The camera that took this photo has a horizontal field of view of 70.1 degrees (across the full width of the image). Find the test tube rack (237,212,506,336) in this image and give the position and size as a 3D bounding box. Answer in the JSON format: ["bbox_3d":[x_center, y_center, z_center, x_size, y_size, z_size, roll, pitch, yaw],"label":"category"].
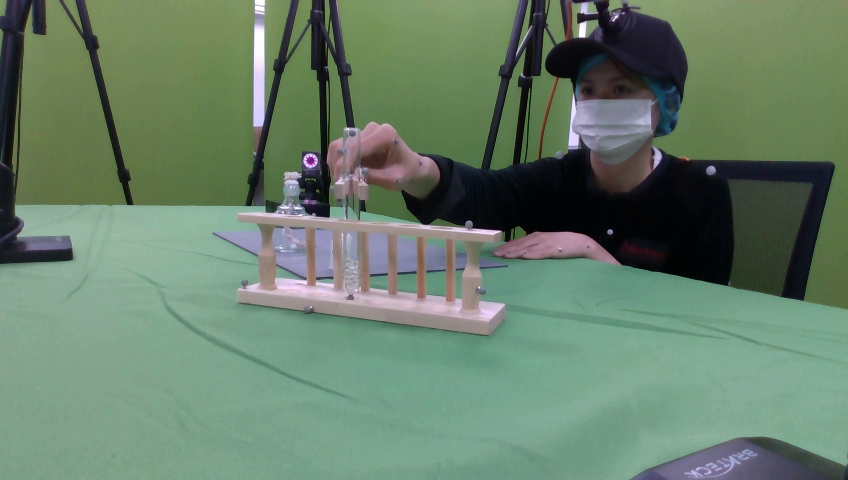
[{"bbox_3d":[-0.049,0.024,0.552,0.242,0.085,0.067,5,7,18],"label":"test tube rack"}]

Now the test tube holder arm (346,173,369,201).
[{"bbox_3d":[-0.064,-0.050,0.560,0.010,0.015,0.087,3,13,-17],"label":"test tube holder arm"}]

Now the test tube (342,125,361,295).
[{"bbox_3d":[-0.064,-0.025,0.534,0.017,0.150,0.017,1,9,0],"label":"test tube"}]

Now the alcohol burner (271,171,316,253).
[{"bbox_3d":[-0.196,-0.041,0.884,0.078,0.119,0.078,3,5,0],"label":"alcohol burner"}]

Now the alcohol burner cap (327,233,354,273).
[{"bbox_3d":[-0.104,0.016,0.752,0.034,0.048,0.034,3,6,0],"label":"alcohol burner cap"}]

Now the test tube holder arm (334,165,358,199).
[{"bbox_3d":[-0.076,-0.060,0.602,0.013,0.015,0.178,7,12,-5],"label":"test tube holder arm"}]
